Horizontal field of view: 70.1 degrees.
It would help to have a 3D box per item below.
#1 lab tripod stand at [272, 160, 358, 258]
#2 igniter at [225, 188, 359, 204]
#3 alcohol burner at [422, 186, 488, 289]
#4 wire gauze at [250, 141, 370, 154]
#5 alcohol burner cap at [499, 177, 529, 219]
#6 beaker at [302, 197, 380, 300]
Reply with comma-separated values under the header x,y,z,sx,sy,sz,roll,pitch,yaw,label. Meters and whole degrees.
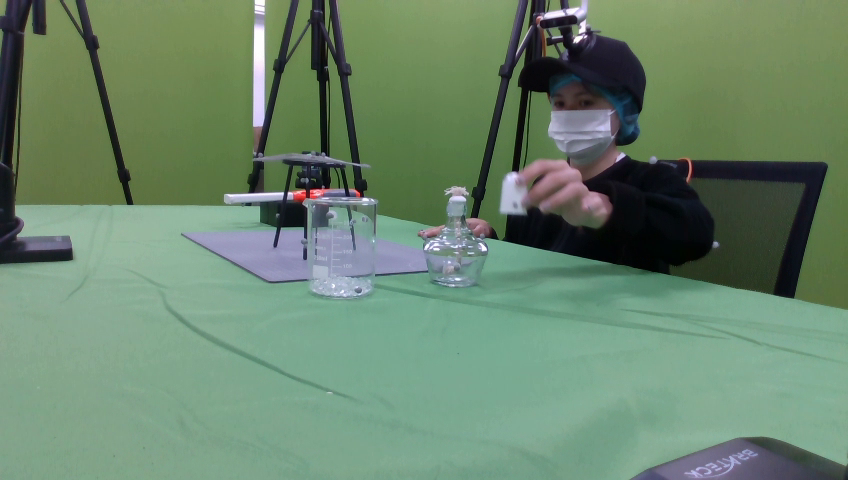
x,y,z,sx,sy,sz,roll,pitch,yaw,label
-0.159,-0.048,0.876,0.148,0.131,0.148,3,5,0,lab tripod stand
-0.264,-0.089,1.239,0.278,0.025,0.057,-5,12,-32,igniter
0.036,-0.004,0.705,0.078,0.119,0.078,0,7,0,alcohol burner
-0.163,-0.131,0.867,0.124,0.011,0.122,-1,8,32,wire gauze
0.103,-0.047,0.683,0.034,0.048,0.034,3,1,0,alcohol burner cap
-0.089,0.007,0.625,0.084,0.100,0.074,4,7,16,beaker
